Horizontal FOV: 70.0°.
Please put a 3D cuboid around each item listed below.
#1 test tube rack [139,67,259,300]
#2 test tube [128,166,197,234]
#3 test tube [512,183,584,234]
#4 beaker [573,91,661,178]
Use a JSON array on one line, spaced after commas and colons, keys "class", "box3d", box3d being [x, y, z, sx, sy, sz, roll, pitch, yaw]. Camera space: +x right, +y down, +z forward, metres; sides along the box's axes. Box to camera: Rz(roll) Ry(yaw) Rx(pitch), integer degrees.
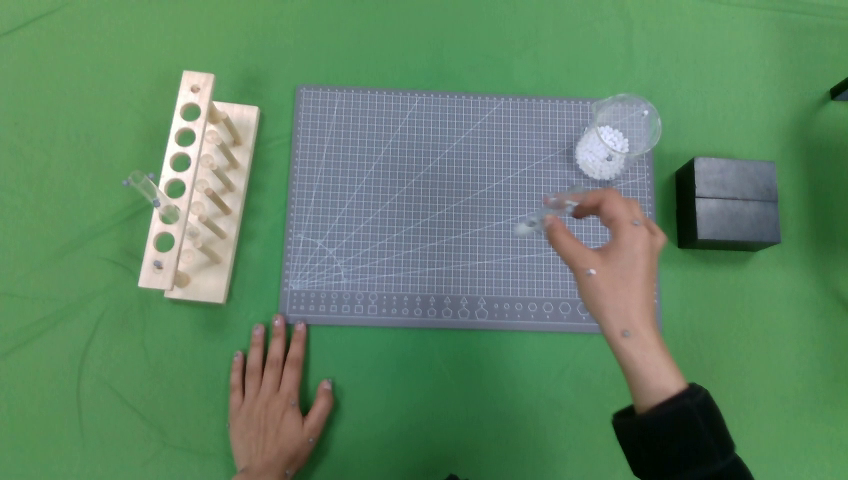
[{"class": "test tube rack", "box3d": [-0.247, -0.061, 0.683, 0.067, 0.085, 0.241, 7, 78, -2]}, {"class": "test tube", "box3d": [-0.266, -0.037, 0.626, 0.017, 0.151, 0.017, 0, 71, -1]}, {"class": "test tube", "box3d": [0.106, -0.025, 0.543, 0.017, 0.150, 0.017, 2, 80, -9]}, {"class": "beaker", "box3d": [0.219, -0.120, 0.713, 0.084, 0.100, 0.074, 33, 78, 6]}]
